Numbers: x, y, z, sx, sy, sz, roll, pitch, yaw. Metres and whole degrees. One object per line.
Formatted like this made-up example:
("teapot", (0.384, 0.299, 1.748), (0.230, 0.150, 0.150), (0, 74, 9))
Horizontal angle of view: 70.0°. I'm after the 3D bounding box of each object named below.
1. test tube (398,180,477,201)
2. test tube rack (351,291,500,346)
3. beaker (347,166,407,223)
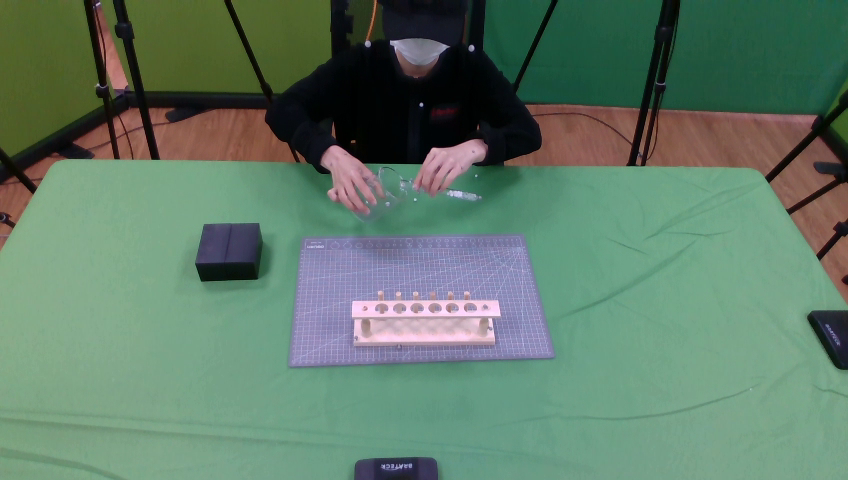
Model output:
("test tube", (0.026, -0.092, 1.135), (0.150, 0.017, 0.017), (11, 46, 4))
("test tube rack", (0.001, 0.129, 1.026), (0.242, 0.085, 0.066), (0, 46, -4))
("beaker", (-0.091, -0.084, 1.160), (0.084, 0.100, 0.073), (5, 59, -51))
